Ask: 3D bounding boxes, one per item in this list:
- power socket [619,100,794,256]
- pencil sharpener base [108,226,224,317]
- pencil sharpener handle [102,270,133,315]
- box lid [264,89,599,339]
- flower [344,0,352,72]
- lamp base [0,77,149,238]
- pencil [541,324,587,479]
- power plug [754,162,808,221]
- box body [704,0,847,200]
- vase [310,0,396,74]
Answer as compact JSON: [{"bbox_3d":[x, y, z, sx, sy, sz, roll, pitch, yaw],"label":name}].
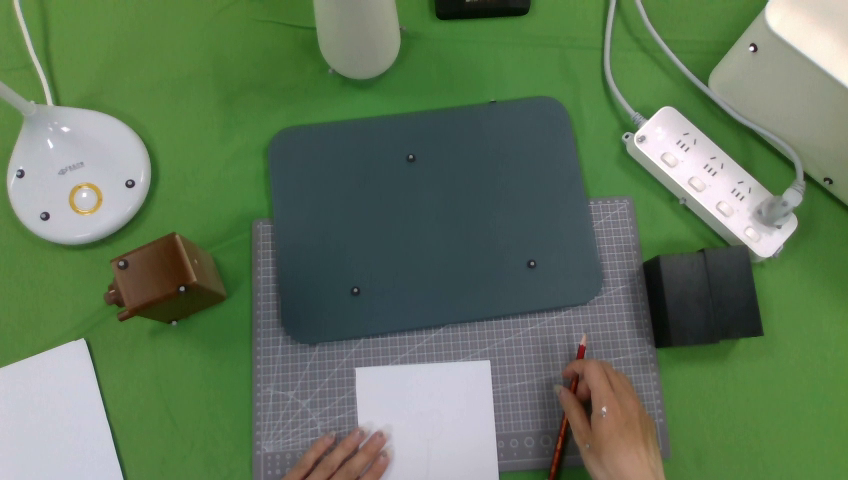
[{"bbox_3d":[0.334,-0.075,0.717,0.072,0.033,0.226,-44,82,-10],"label":"power socket"},{"bbox_3d":[-0.268,0.037,0.636,0.077,0.107,0.061,-25,79,-6],"label":"pencil sharpener base"},{"bbox_3d":[-0.313,0.058,0.617,0.030,0.068,0.035,-25,67,-6],"label":"pencil sharpener handle"},{"bbox_3d":[0.008,-0.037,0.709,0.372,0.015,0.262,-8,78,-3],"label":"box lid"},{"bbox_3d":[-0.070,-0.299,0.584,0.044,0.364,0.038,-29,68,-23],"label":"flower"},{"bbox_3d":[-0.406,-0.107,0.625,0.160,0.181,0.178,-35,78,-9],"label":"lamp base"},{"bbox_3d":[0.152,0.185,0.658,0.012,0.012,0.193,16,83,2],"label":"pencil"},{"bbox_3d":[0.409,-0.049,0.690,0.072,0.053,0.035,-33,78,-13],"label":"power plug"},{"bbox_3d":[0.543,-0.186,0.681,0.363,0.161,0.254,41,80,7],"label":"box body"},{"bbox_3d":[-0.080,-0.266,0.661,0.098,0.201,0.097,1,76,-2],"label":"vase"}]
